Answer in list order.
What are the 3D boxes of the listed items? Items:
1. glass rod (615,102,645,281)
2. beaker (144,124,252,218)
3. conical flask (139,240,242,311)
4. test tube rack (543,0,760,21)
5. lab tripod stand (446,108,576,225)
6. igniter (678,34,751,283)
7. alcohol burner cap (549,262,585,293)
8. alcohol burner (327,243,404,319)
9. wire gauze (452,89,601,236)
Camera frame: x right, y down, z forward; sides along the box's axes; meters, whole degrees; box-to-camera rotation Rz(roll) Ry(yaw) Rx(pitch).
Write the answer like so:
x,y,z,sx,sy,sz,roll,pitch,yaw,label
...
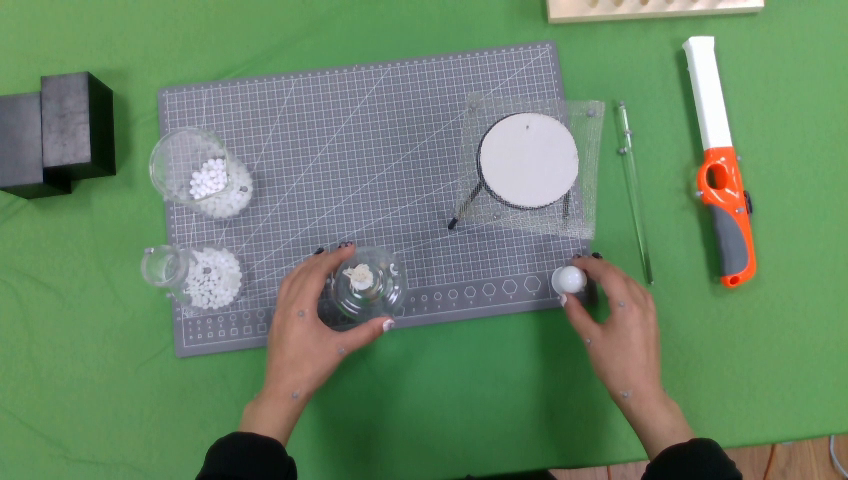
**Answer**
x,y,z,sx,sy,sz,roll,pitch,yaw,label
0.225,-0.054,0.661,0.008,0.008,0.199,-6,84,-1,glass rod
-0.220,-0.063,0.614,0.084,0.100,0.074,29,83,4,beaker
-0.230,0.030,0.590,0.075,0.122,0.075,0,81,0,conical flask
0.256,-0.297,0.657,0.242,0.085,0.066,-4,81,0,test tube rack
0.087,-0.061,0.596,0.148,0.132,0.148,0,83,1,lab tripod stand
0.314,-0.091,0.657,0.057,0.025,0.275,-4,82,-10,igniter
0.148,0.037,0.620,0.034,0.048,0.034,0,84,-1,alcohol burner cap
-0.059,0.039,0.593,0.078,0.119,0.077,0,82,2,alcohol burner
0.090,-0.070,0.530,0.125,0.011,0.121,7,83,2,wire gauze
